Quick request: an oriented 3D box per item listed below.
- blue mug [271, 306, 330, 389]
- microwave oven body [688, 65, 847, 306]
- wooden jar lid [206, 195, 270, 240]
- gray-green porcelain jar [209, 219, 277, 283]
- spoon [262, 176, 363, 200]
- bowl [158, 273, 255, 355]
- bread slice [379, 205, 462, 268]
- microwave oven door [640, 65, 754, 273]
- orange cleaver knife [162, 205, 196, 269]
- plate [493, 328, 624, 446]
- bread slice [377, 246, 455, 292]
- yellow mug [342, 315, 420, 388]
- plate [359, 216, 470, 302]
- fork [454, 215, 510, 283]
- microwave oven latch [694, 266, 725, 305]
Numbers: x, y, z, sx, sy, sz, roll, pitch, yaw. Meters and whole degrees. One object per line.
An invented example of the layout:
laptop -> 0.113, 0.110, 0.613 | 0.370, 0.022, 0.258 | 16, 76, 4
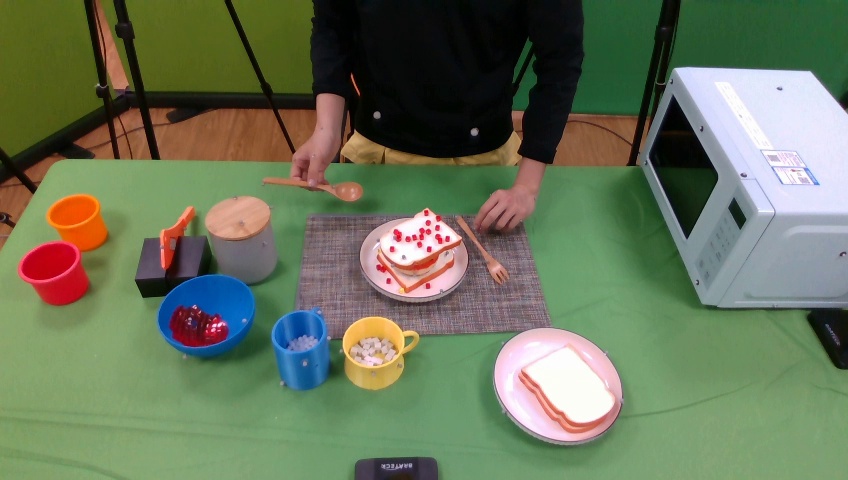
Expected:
blue mug -> -0.188, 0.163, 0.969 | 0.082, 0.106, 0.116 | 15, 47, 10
microwave oven body -> 0.669, -0.111, 1.176 | 0.326, 0.261, 0.439 | 0, 46, -3
wooden jar lid -> -0.319, -0.036, 1.046 | 0.108, 0.021, 0.107 | 1, 44, 0
gray-green porcelain jar -> -0.323, 0.007, 1.092 | 0.106, 0.127, 0.105 | 2, 46, -2
spoon -> -0.217, -0.109, 1.184 | 0.194, 0.021, 0.041 | 8, 76, -13
bowl -> -0.351, 0.136, 1.001 | 0.151, 0.077, 0.150 | 2, 46, -2
bread slice -> -0.012, -0.001, 1.097 | 0.134, 0.018, 0.106 | -33, 52, -23
microwave oven door -> 0.523, -0.147, 1.193 | 0.039, 0.245, 0.353 | 0, 47, -3
orange cleaver knife -> -0.454, -0.010, 1.129 | 0.012, 0.077, 0.210 | -1, 20, -5
plate -> 0.213, 0.236, 0.974 | 0.208, 0.039, 0.206 | 2, 46, -2
bread slice -> -0.010, 0.033, 1.150 | 0.131, 0.019, 0.104 | -28, 56, -24
yellow mug -> -0.068, 0.177, 0.990 | 0.131, 0.064, 0.099 | -15, 50, -19
plate -> -0.019, 0.038, 1.140 | 0.209, 0.038, 0.208 | 2, 46, -2
fork -> 0.108, 0.014, 1.188 | 0.028, 0.019, 0.206 | -15, 49, -20
microwave oven latch -> 0.523, 0.082, 1.115 | 0.030, 0.029, 0.078 | 3, 46, 0
